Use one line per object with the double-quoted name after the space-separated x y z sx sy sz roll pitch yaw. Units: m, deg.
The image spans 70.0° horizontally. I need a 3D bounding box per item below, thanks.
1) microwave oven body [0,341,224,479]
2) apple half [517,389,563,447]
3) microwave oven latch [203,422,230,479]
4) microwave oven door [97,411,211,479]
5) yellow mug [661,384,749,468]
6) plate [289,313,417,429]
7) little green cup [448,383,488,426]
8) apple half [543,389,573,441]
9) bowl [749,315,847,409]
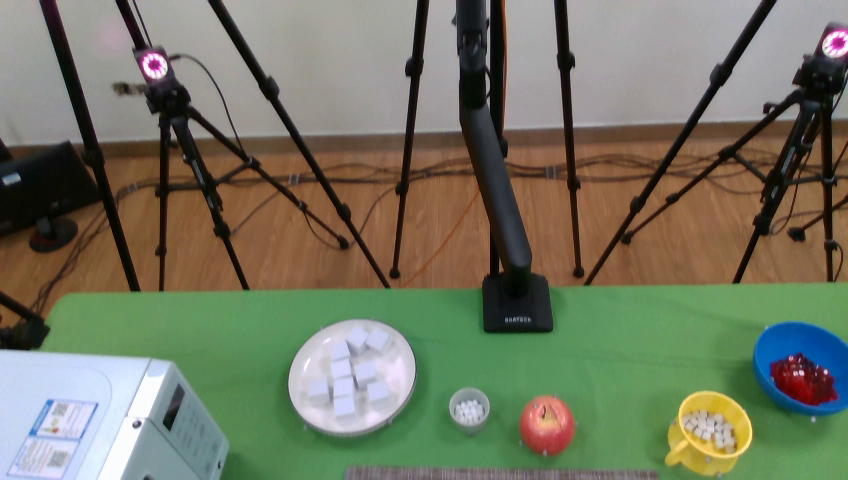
-0.482 0.373 0.719 0.326 0.262 0.437 2 49 6 "microwave oven body"
0.165 0.268 0.893 0.053 0.075 0.080 -19 53 -6 "apple half"
-0.312 0.310 0.892 0.030 0.030 0.078 4 50 7 "microwave oven latch"
-0.342 0.405 0.672 0.039 0.246 0.352 2 49 6 "microwave oven door"
0.394 0.275 0.872 0.131 0.064 0.099 -25 52 -16 "yellow mug"
-0.113 0.213 0.986 0.207 0.039 0.205 -2 48 3 "plate"
0.068 0.256 0.934 0.061 0.039 0.061 -2 48 3 "little green cup"
0.202 0.256 0.898 0.033 0.082 0.080 -18 49 -6 "apple half"
0.565 0.197 0.919 0.151 0.077 0.150 -3 49 3 "bowl"
